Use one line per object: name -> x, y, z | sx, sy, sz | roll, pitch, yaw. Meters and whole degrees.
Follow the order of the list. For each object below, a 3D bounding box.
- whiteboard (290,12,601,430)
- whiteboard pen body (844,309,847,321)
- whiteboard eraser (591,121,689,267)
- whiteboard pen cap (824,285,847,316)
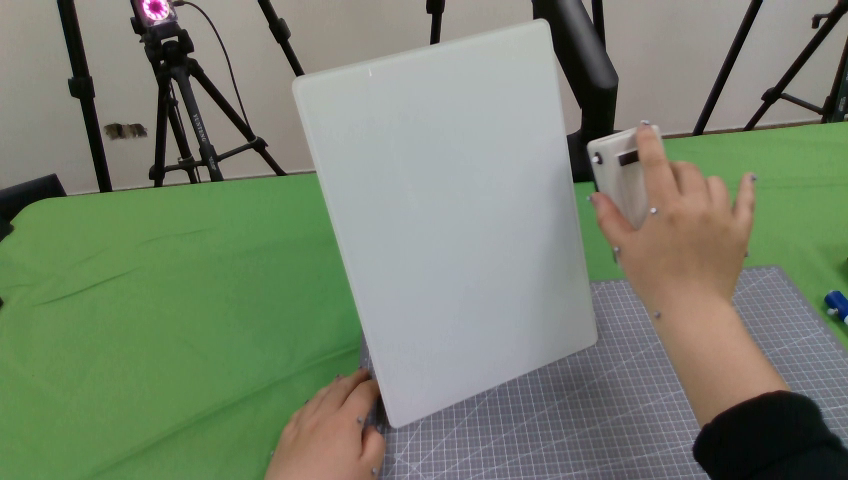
whiteboard -> 0.015, -0.025, 0.567 | 0.217, 0.307, 0.142 | -19, 19, -15
whiteboard pen body -> 0.407, 0.094, 0.538 | 0.017, 0.017, 0.139 | -6, 36, 1
whiteboard eraser -> 0.177, -0.038, 0.501 | 0.055, 0.113, 0.041 | -17, 10, -3
whiteboard pen cap -> 0.404, 0.059, 0.584 | 0.018, 0.018, 0.033 | -7, 35, 0
